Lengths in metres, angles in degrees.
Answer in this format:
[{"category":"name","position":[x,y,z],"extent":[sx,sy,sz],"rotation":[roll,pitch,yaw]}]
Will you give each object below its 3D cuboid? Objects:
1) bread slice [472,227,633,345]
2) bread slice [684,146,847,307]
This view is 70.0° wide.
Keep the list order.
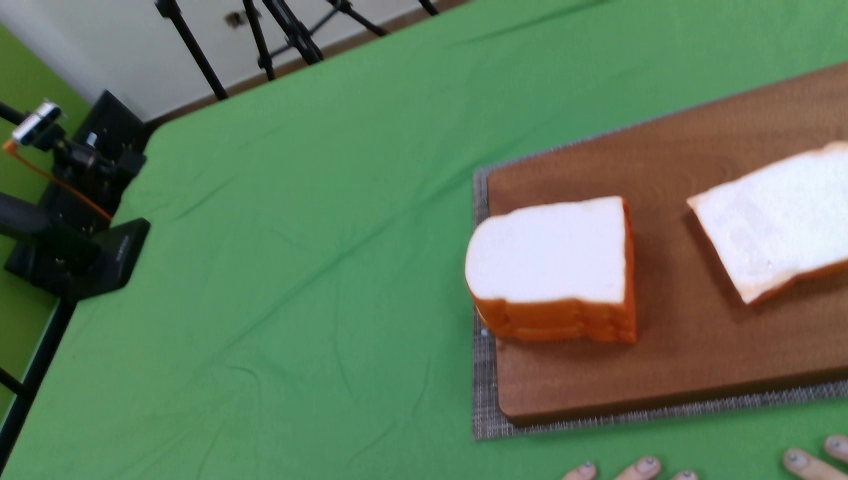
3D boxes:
[{"category":"bread slice","position":[0.106,0.037,0.509],"extent":[0.134,0.018,0.106],"rotation":[-3,52,24]},{"category":"bread slice","position":[0.276,-0.014,0.446],"extent":[0.131,0.019,0.104],"rotation":[-25,44,18]}]
